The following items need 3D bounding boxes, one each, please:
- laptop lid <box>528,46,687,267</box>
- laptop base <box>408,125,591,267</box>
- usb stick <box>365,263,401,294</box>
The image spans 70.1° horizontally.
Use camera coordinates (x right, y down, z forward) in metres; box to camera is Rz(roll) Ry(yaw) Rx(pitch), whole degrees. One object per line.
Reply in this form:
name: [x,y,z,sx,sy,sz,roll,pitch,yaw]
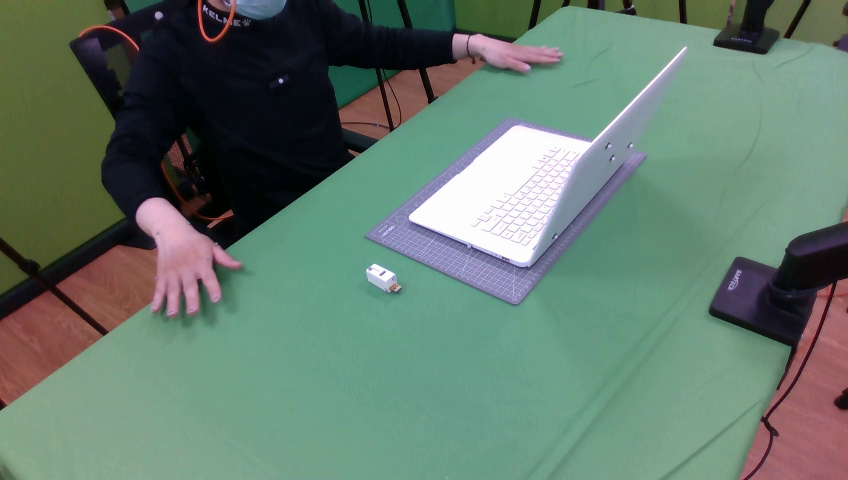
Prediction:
laptop lid: [0.277,-0.126,0.903,0.013,0.242,0.358,35,53,17]
laptop base: [0.168,-0.092,1.054,0.233,0.023,0.355,21,47,33]
usb stick: [-0.059,0.060,0.903,0.058,0.027,0.021,28,51,30]
